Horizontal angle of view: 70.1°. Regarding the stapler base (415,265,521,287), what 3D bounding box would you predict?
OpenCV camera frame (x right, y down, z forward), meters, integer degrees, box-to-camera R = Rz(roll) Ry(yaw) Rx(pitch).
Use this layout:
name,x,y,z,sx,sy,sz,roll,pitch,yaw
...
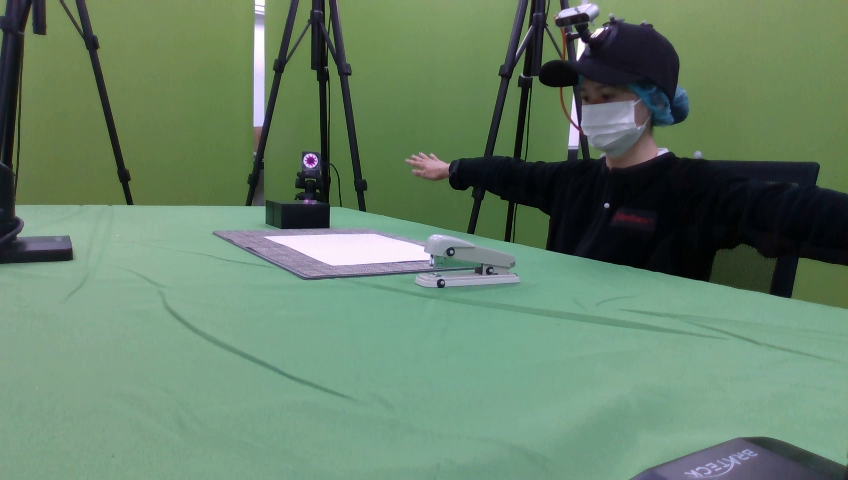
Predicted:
name,x,y,z,sx,sy,sz,roll,pitch,yaw
stapler base,0.053,0.039,0.716,0.131,0.024,0.041,1,9,-27

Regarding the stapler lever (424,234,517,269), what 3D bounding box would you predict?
name,x,y,z,sx,sy,sz,roll,pitch,yaw
stapler lever,0.056,0.014,0.714,0.119,0.040,0.026,1,9,-27
